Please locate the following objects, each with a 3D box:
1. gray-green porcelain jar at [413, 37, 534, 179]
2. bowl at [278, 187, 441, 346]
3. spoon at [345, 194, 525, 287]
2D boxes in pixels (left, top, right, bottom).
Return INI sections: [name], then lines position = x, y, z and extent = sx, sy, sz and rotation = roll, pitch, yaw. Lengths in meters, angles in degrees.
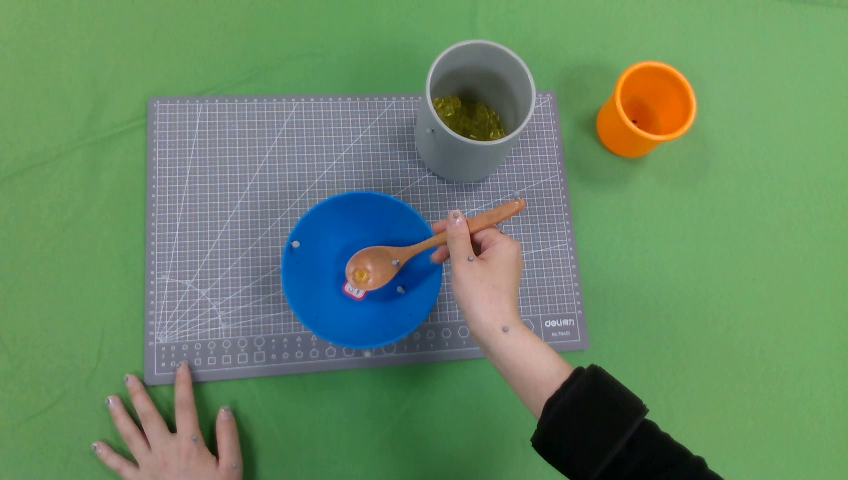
[gray-green porcelain jar]
position = 0.044, -0.126, 0.618
extent = 0.106, 0.127, 0.105
rotation = 2, 77, -7
[bowl]
position = -0.062, 0.031, 0.595
extent = 0.152, 0.077, 0.150
rotation = 2, 78, -7
[spoon]
position = 0.005, 0.001, 0.550
extent = 0.193, 0.022, 0.041
rotation = -23, 83, 31
